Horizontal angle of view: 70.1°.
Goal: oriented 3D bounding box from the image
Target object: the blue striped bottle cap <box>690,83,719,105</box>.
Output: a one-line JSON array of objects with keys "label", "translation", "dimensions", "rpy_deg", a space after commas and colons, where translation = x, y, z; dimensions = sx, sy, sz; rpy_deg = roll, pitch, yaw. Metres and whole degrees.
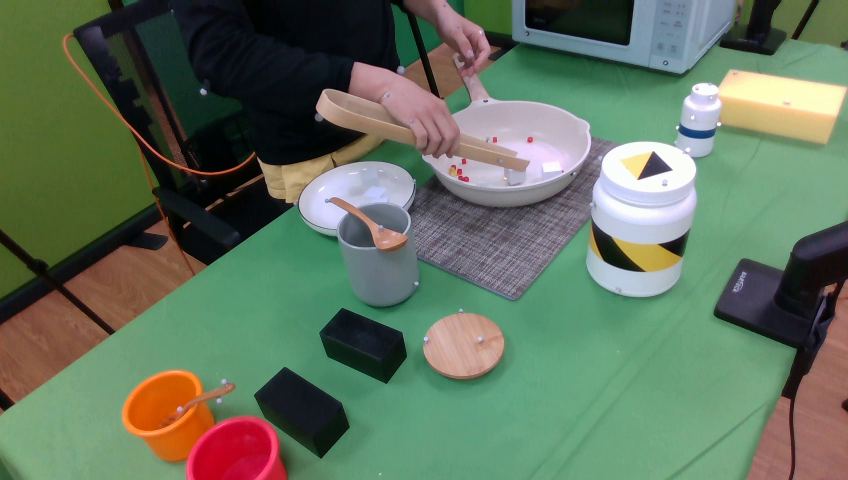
[{"label": "blue striped bottle cap", "translation": [0.481, -0.251, 1.038], "dimensions": [0.044, 0.021, 0.044], "rpy_deg": [-5, 40, 5]}]

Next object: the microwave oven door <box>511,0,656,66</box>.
[{"label": "microwave oven door", "translation": [0.350, -0.539, 1.349], "dimensions": [0.353, 0.245, 0.039], "rpy_deg": [24, 50, 31]}]

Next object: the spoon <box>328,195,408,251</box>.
[{"label": "spoon", "translation": [-0.083, -0.029, 0.829], "dimensions": [0.042, 0.022, 0.192], "rpy_deg": [-31, 42, -22]}]

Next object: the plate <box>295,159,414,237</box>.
[{"label": "plate", "translation": [-0.118, -0.070, 1.055], "dimensions": [0.207, 0.039, 0.206], "rpy_deg": [-5, 40, 5]}]

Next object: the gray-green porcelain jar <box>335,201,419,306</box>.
[{"label": "gray-green porcelain jar", "translation": [-0.064, 0.024, 0.872], "dimensions": [0.106, 0.127, 0.105], "rpy_deg": [-4, 41, 4]}]

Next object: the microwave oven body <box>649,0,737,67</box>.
[{"label": "microwave oven body", "translation": [0.475, -0.602, 1.411], "dimensions": [0.438, 0.261, 0.327], "rpy_deg": [23, 50, 32]}]

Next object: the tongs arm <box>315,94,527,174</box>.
[{"label": "tongs arm", "translation": [0.016, -0.151, 0.925], "dimensions": [0.391, 0.027, 0.028], "rpy_deg": [10, 42, -36]}]

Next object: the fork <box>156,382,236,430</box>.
[{"label": "fork", "translation": [-0.262, 0.189, 0.690], "dimensions": [0.018, 0.206, 0.028], "rpy_deg": [49, 43, -7]}]

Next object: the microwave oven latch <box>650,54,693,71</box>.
[{"label": "microwave oven latch", "translation": [0.531, -0.386, 1.301], "dimensions": [0.078, 0.029, 0.030], "rpy_deg": [26, 51, 33]}]

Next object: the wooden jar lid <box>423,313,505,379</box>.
[{"label": "wooden jar lid", "translation": [0.053, 0.142, 0.800], "dimensions": [0.108, 0.021, 0.108], "rpy_deg": [-5, 39, 4]}]

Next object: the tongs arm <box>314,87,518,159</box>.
[{"label": "tongs arm", "translation": [0.008, -0.167, 0.939], "dimensions": [0.388, 0.026, 0.050], "rpy_deg": [13, 37, -33]}]

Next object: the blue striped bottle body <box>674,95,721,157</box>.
[{"label": "blue striped bottle body", "translation": [0.486, -0.213, 1.072], "dimensions": [0.063, 0.121, 0.063], "rpy_deg": [-4, 41, 4]}]

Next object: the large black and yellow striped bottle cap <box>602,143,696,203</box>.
[{"label": "large black and yellow striped bottle cap", "translation": [0.289, -0.088, 0.779], "dimensions": [0.115, 0.019, 0.114], "rpy_deg": [-5, 39, 4]}]

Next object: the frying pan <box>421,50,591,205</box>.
[{"label": "frying pan", "translation": [0.127, -0.233, 1.155], "dimensions": [0.307, 0.103, 0.484], "rpy_deg": [-10, 49, -5]}]

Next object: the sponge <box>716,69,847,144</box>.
[{"label": "sponge", "translation": [0.663, -0.256, 1.142], "dimensions": [0.205, 0.061, 0.118], "rpy_deg": [19, 47, 28]}]

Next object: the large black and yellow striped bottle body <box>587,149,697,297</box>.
[{"label": "large black and yellow striped bottle body", "translation": [0.298, -0.026, 0.835], "dimensions": [0.131, 0.185, 0.130], "rpy_deg": [-4, 41, 4]}]
